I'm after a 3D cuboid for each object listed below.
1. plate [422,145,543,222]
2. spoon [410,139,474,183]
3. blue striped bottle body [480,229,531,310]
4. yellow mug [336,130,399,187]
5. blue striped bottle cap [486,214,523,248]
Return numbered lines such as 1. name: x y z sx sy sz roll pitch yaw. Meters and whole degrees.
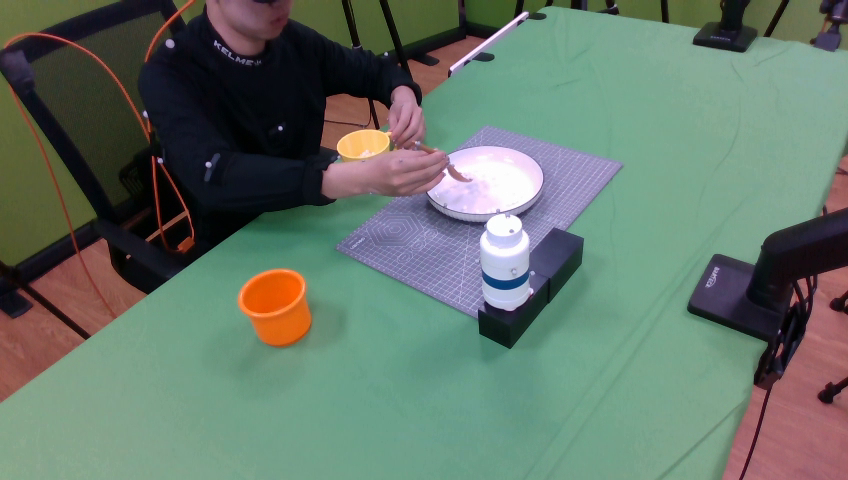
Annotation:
1. plate: 0.101 -0.094 1.048 0.207 0.039 0.206 -4 41 4
2. spoon: 0.029 -0.127 0.966 0.041 0.195 0.021 30 90 32
3. blue striped bottle body: 0.104 0.027 0.769 0.063 0.121 0.063 -4 41 4
4. yellow mug: -0.098 -0.161 1.139 0.131 0.064 0.099 -34 47 -29
5. blue striped bottle cap: 0.098 -0.011 0.735 0.044 0.021 0.044 -3 38 3
